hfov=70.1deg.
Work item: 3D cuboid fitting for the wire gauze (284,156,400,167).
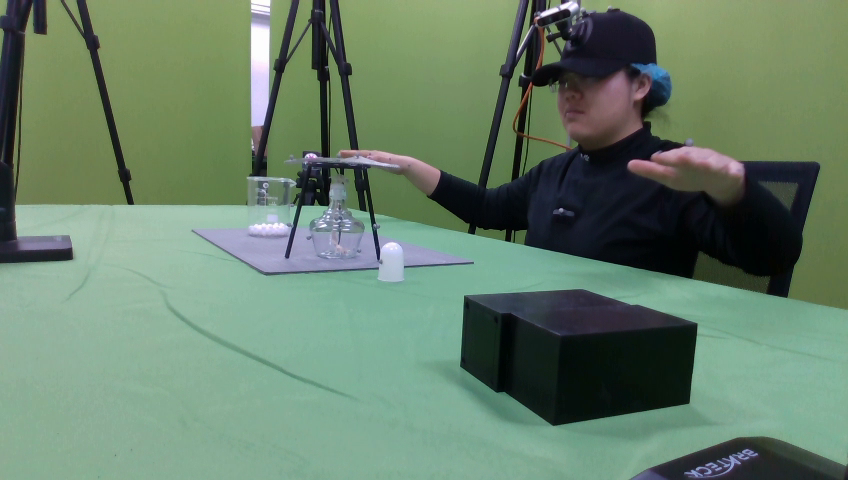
[{"bbox_3d":[-0.115,-0.110,0.835,0.126,0.011,0.121,-3,10,-30],"label":"wire gauze"}]

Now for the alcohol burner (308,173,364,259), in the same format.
[{"bbox_3d":[-0.121,-0.033,0.843,0.078,0.119,0.078,3,5,0],"label":"alcohol burner"}]

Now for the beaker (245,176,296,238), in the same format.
[{"bbox_3d":[-0.263,-0.057,1.034,0.084,0.100,0.074,1,8,-17],"label":"beaker"}]

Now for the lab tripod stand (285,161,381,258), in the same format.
[{"bbox_3d":[-0.123,-0.043,0.842,0.148,0.131,0.148,2,9,0],"label":"lab tripod stand"}]

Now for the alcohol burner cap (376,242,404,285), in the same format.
[{"bbox_3d":[-0.039,0.026,0.710,0.034,0.048,0.034,3,7,0],"label":"alcohol burner cap"}]
